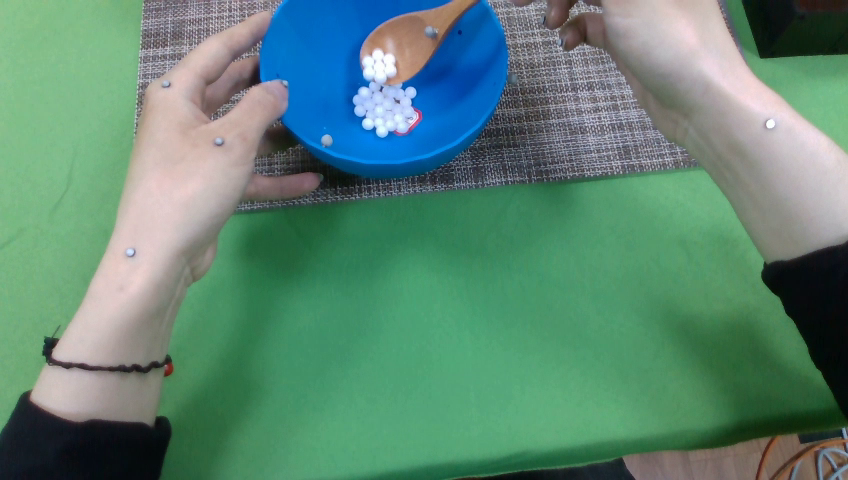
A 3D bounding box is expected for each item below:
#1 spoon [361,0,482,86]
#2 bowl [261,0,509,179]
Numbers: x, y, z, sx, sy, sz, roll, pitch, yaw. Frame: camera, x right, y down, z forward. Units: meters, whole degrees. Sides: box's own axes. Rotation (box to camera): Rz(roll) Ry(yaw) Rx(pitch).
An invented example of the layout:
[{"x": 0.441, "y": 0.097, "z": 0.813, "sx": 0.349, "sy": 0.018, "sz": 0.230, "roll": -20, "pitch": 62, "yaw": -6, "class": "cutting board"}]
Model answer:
[{"x": 0.035, "y": -0.140, "z": 0.346, "sx": 0.022, "sy": 0.193, "sz": 0.041, "roll": -3, "pitch": 77, "yaw": -49, "class": "spoon"}, {"x": -0.023, "y": -0.098, "z": 0.400, "sx": 0.151, "sy": 0.077, "sz": 0.150, "roll": 0, "pitch": 69, "yaw": 0, "class": "bowl"}]
